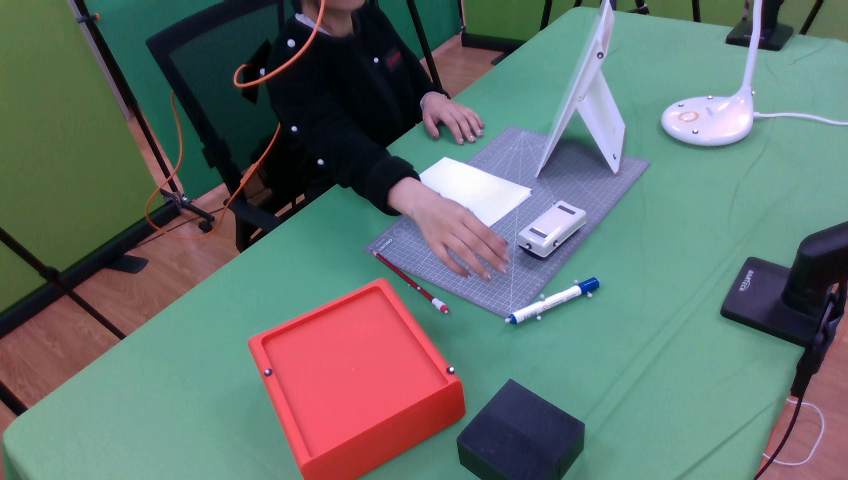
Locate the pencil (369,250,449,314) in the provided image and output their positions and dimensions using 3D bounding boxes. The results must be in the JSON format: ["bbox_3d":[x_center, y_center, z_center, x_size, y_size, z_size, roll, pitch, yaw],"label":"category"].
[{"bbox_3d":[-0.028,0.059,0.924,0.012,0.012,0.192,-33,46,-25],"label":"pencil"}]

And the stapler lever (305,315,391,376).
[{"bbox_3d":[-0.100,0.136,0.790,0.118,0.040,0.026,-23,43,-12],"label":"stapler lever"}]

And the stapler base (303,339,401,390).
[{"bbox_3d":[-0.096,0.160,0.813,0.131,0.024,0.041,-16,42,-18],"label":"stapler base"}]

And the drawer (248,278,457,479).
[{"bbox_3d":[-0.092,0.168,0.756,0.195,0.073,0.210,-23,43,-18],"label":"drawer"}]

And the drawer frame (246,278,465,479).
[{"bbox_3d":[-0.088,0.168,0.752,0.202,0.083,0.211,-24,43,-18],"label":"drawer frame"}]

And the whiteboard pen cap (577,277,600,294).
[{"bbox_3d":[0.233,0.066,0.864,0.033,0.018,0.018,-20,42,-16],"label":"whiteboard pen cap"}]

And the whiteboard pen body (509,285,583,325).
[{"bbox_3d":[0.181,0.086,0.845,0.141,0.017,0.017,-21,42,-17],"label":"whiteboard pen body"}]

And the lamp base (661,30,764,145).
[{"bbox_3d":[0.535,-0.287,1.096,0.179,0.181,0.159,-10,40,-4],"label":"lamp base"}]

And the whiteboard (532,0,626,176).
[{"bbox_3d":[0.321,-0.258,1.049,0.144,0.306,0.217,21,45,5],"label":"whiteboard"}]

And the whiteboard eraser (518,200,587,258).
[{"bbox_3d":[0.201,-0.016,0.943,0.113,0.042,0.055,-37,46,-29],"label":"whiteboard eraser"}]
